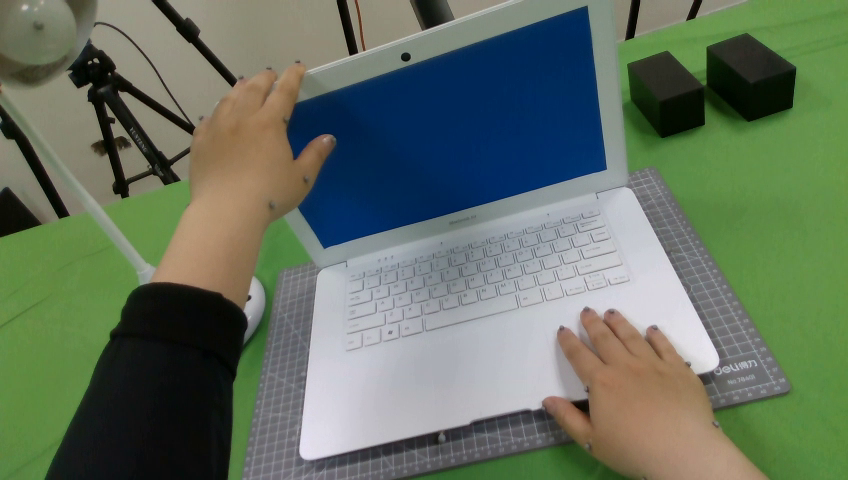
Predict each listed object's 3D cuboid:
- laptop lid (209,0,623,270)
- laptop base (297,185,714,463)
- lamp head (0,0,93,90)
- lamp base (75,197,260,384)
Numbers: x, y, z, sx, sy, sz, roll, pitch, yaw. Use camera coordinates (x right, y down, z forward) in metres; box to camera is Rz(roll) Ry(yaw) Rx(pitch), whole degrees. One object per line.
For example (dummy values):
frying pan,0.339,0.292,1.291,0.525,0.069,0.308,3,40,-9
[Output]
laptop lid,0.009,-0.089,0.584,0.356,0.244,0.013,-17,44,9
laptop base,0.052,0.070,0.577,0.354,0.023,0.233,-16,43,8
lamp head,-0.331,-0.184,0.444,0.123,0.113,0.112,25,52,1
lamp base,-0.294,0.037,0.645,0.178,0.182,0.160,13,51,38
